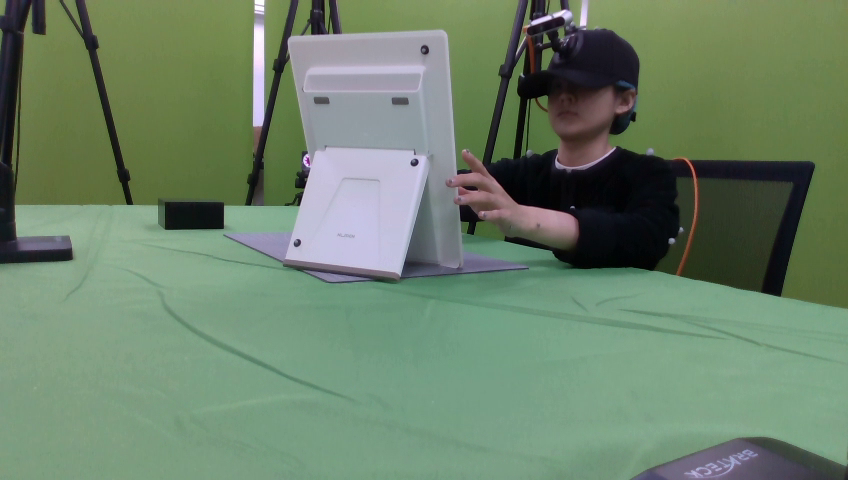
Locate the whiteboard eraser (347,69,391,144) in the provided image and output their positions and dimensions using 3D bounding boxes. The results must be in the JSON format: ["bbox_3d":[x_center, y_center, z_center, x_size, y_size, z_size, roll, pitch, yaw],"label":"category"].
[{"bbox_3d":[-0.072,-0.175,0.796,0.041,0.101,0.019,23,27,6],"label":"whiteboard eraser"}]

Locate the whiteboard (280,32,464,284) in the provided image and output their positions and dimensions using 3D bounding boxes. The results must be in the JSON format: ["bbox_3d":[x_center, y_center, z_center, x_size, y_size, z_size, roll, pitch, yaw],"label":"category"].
[{"bbox_3d":[-0.086,-0.080,0.728,0.216,0.305,0.144,7,28,24],"label":"whiteboard"}]
